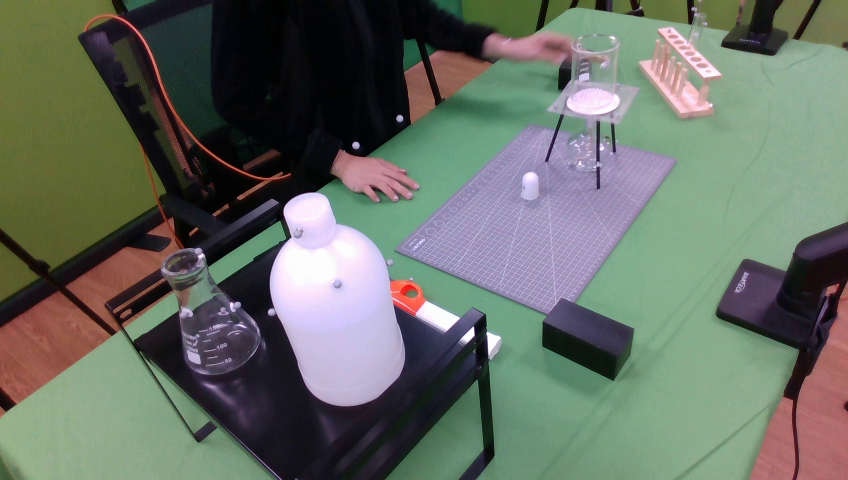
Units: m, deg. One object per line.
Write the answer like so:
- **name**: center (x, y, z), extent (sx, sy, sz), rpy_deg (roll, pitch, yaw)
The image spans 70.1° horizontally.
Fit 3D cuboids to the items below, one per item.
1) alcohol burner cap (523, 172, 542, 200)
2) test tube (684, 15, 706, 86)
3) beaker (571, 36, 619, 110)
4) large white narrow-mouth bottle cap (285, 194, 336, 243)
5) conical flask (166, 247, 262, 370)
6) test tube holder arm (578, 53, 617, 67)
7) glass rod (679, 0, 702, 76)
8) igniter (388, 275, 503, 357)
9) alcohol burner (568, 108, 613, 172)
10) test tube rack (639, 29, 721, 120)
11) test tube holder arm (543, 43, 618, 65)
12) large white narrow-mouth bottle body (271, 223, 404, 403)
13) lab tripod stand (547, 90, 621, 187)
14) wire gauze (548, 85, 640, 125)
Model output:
- **alcohol burner cap**: center (0.186, -0.096, 1.047), extent (0.034, 0.048, 0.033), rpy_deg (-6, 37, 5)
- **test tube**: center (0.540, -0.378, 1.215), extent (0.017, 0.151, 0.017), rpy_deg (-2, 44, 3)
- **beaker**: center (0.281, -0.273, 0.992), extent (0.084, 0.101, 0.073), rpy_deg (-24, 42, -16)
- **large white narrow-mouth bottle cap**: center (-0.087, -0.017, 0.468), extent (0.038, 0.024, 0.037), rpy_deg (-5, 40, 4)
- **conical flask**: center (-0.209, 0.063, 0.584), extent (0.075, 0.122, 0.075), rpy_deg (-5, 40, 4)
- **test tube holder arm**: center (0.376, -0.393, 1.314), extent (0.087, 0.015, 0.010), rpy_deg (26, 51, 32)
- **glass rod**: center (0.543, -0.417, 1.233), extent (0.008, 0.200, 0.008), rpy_deg (1, 40, 0)
- **igniter**: center (-0.009, 0.093, 0.870), extent (0.274, 0.025, 0.057), rpy_deg (24, 60, 33)
- **alcohol burner**: center (0.296, -0.182, 1.074), extent (0.078, 0.119, 0.077), rpy_deg (-5, 43, 5)
- **test tube rack**: center (0.527, -0.351, 1.262), extent (0.067, 0.085, 0.241), rpy_deg (-8, 40, 1)
- **test tube holder arm**: center (0.344, -0.413, 1.340), extent (0.177, 0.015, 0.013), rpy_deg (25, 51, 31)
- **large white narrow-mouth bottle body**: center (-0.077, 0.048, 0.525), extent (0.102, 0.195, 0.101), rpy_deg (-5, 40, 5)
- **lab tripod stand**: center (0.289, -0.184, 1.062), extent (0.148, 0.132, 0.147), rpy_deg (-6, 41, 6)
- **wire gauze**: center (0.286, -0.233, 1.020), extent (0.124, 0.011, 0.122), rpy_deg (15, 43, 30)
